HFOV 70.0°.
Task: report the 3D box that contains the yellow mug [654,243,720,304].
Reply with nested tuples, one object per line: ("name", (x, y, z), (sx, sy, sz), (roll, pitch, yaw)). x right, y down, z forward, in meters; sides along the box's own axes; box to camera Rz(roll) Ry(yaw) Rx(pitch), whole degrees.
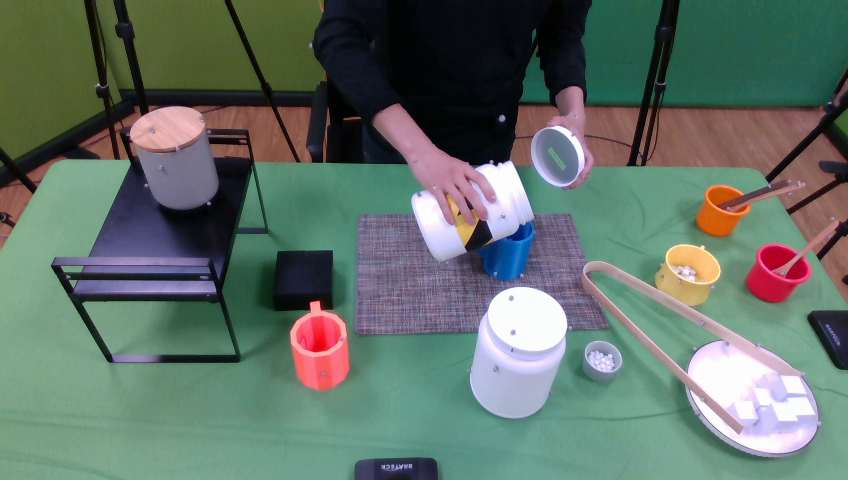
("yellow mug", (0.504, 0.054, 1.154), (0.099, 0.064, 0.130), (28, 50, 22))

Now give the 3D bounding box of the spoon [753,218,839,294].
("spoon", (0.700, 0.031, 1.138), (0.194, 0.022, 0.041), (-47, 55, 14))

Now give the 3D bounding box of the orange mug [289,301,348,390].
("orange mug", (-0.170, 0.162, 0.976), (0.083, 0.101, 0.125), (-8, 52, -11))

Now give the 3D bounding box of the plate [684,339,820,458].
("plate", (0.523, 0.256, 0.982), (0.208, 0.039, 0.206), (2, 46, -2))

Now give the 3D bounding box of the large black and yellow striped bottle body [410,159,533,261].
("large black and yellow striped bottle body", (0.083, -0.054, 1.039), (0.184, 0.131, 0.130), (-22, 48, 7))

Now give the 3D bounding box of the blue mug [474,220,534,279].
("blue mug", (0.141, 0.005, 1.139), (0.116, 0.106, 0.082), (19, 48, 13))

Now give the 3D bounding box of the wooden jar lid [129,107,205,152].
("wooden jar lid", (-0.385, -0.163, 0.915), (0.108, 0.021, 0.107), (2, 47, -2))

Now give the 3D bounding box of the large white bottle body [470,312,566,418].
("large white bottle body", (0.143, 0.173, 0.930), (0.131, 0.185, 0.130), (2, 46, -2))

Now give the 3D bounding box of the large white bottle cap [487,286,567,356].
("large white bottle cap", (0.147, 0.114, 0.869), (0.115, 0.018, 0.114), (3, 46, -3))

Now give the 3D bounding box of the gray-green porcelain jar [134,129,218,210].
("gray-green porcelain jar", (-0.388, -0.120, 0.960), (0.106, 0.127, 0.105), (2, 46, -2))

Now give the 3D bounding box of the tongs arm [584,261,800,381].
("tongs arm", (0.452, 0.137, 1.064), (0.051, 0.027, 0.382), (-34, 50, -27))

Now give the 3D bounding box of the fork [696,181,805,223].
("fork", (0.659, -0.077, 1.232), (0.207, 0.019, 0.028), (-26, 35, 34))

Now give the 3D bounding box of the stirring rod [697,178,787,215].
("stirring rod", (0.650, -0.088, 1.246), (0.006, 0.176, 0.014), (29, 50, -39))

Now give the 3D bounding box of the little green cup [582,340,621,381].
("little green cup", (0.295, 0.203, 1.015), (0.061, 0.039, 0.061), (2, 45, -2))

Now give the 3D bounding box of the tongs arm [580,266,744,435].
("tongs arm", (0.384, 0.173, 1.028), (0.028, 0.028, 0.385), (-25, 46, -15))

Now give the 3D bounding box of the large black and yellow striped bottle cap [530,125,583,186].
("large black and yellow striped bottle cap", (0.245, -0.156, 1.120), (0.019, 0.115, 0.114), (-31, 56, -28))
